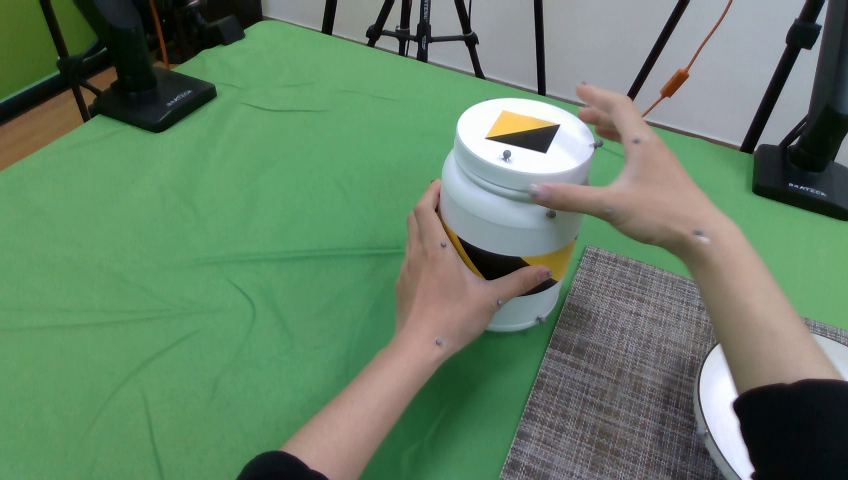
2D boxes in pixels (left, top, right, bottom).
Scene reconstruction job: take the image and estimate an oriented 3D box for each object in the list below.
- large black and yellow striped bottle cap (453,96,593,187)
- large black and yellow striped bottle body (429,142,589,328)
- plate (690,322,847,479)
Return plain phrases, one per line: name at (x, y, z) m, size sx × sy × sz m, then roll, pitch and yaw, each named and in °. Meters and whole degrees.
large black and yellow striped bottle cap at (0.081, -0.084, 0.499) m, size 0.115 × 0.019 × 0.114 m, roll 3°, pitch 41°, yaw -3°
large black and yellow striped bottle body at (0.075, -0.022, 0.557) m, size 0.131 × 0.185 × 0.129 m, roll 3°, pitch 43°, yaw -2°
plate at (0.319, 0.159, 0.494) m, size 0.208 × 0.039 × 0.205 m, roll 4°, pitch 43°, yaw -3°
